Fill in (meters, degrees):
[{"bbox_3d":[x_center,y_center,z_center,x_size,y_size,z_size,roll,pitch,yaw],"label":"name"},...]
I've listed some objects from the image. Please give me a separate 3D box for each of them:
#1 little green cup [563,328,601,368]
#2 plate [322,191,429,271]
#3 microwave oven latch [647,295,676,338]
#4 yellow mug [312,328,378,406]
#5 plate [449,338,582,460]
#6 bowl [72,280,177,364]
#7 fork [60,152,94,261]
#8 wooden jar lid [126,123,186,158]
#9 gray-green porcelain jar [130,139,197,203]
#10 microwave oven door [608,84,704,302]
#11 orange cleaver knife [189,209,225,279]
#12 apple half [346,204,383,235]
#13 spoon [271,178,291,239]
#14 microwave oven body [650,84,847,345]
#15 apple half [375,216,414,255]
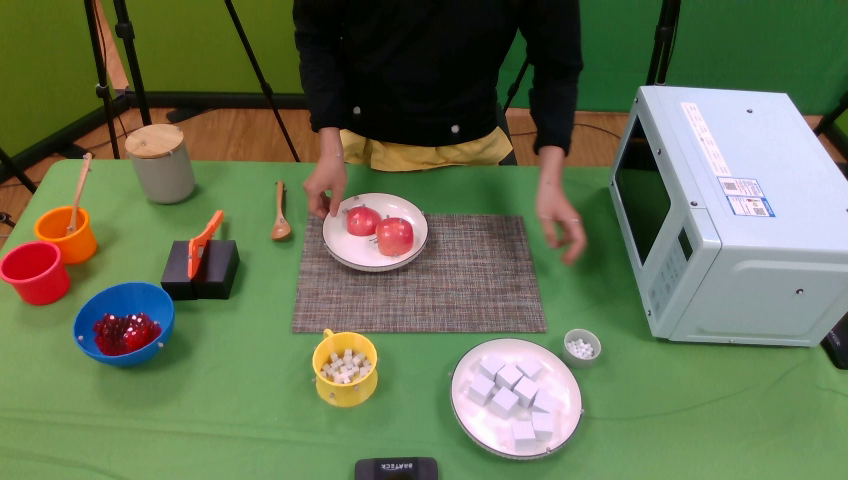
[{"bbox_3d":[0.265,0.184,1.025,0.061,0.039,0.061,1,46,-1],"label":"little green cup"},{"bbox_3d":[-0.093,-0.015,1.185,0.209,0.038,0.208,2,46,-2],"label":"plate"},{"bbox_3d":[0.413,0.133,1.060,0.030,0.029,0.078,4,46,1],"label":"microwave oven latch"},{"bbox_3d":[-0.132,0.193,0.971,0.100,0.064,0.130,-22,51,-22],"label":"yellow mug"},{"bbox_3d":[0.141,0.251,0.956,0.208,0.039,0.206,2,46,-2],"label":"plate"},{"bbox_3d":[-0.473,0.147,0.982,0.151,0.077,0.150,2,46,-2],"label":"bowl"},{"bbox_3d":[-0.638,-0.063,1.119,0.028,0.018,0.207,12,90,6],"label":"fork"},{"bbox_3d":[-0.519,-0.190,1.179,0.108,0.021,0.107,2,44,-2],"label":"wooden jar lid"},{"bbox_3d":[-0.522,-0.148,1.225,0.106,0.127,0.105,2,47,-2],"label":"gray-green porcelain jar"},{"bbox_3d":[0.424,-0.096,1.138,0.039,0.245,0.353,2,47,-1],"label":"microwave oven door"},{"bbox_3d":[-0.401,0.002,1.122,0.012,0.077,0.210,4,23,-4],"label":"orange cleaver knife"},{"bbox_3d":[-0.119,-0.049,1.207,0.081,0.033,0.081,3,50,-3],"label":"apple half"},{"bbox_3d":[-0.293,-0.068,1.237,0.041,0.022,0.192,-19,48,7],"label":"spoon"},{"bbox_3d":[0.569,-0.054,1.115,0.326,0.261,0.439,2,46,-1],"label":"microwave oven body"},{"bbox_3d":[-0.056,-0.017,1.169,0.075,0.053,0.080,0,46,-7],"label":"apple half"}]
